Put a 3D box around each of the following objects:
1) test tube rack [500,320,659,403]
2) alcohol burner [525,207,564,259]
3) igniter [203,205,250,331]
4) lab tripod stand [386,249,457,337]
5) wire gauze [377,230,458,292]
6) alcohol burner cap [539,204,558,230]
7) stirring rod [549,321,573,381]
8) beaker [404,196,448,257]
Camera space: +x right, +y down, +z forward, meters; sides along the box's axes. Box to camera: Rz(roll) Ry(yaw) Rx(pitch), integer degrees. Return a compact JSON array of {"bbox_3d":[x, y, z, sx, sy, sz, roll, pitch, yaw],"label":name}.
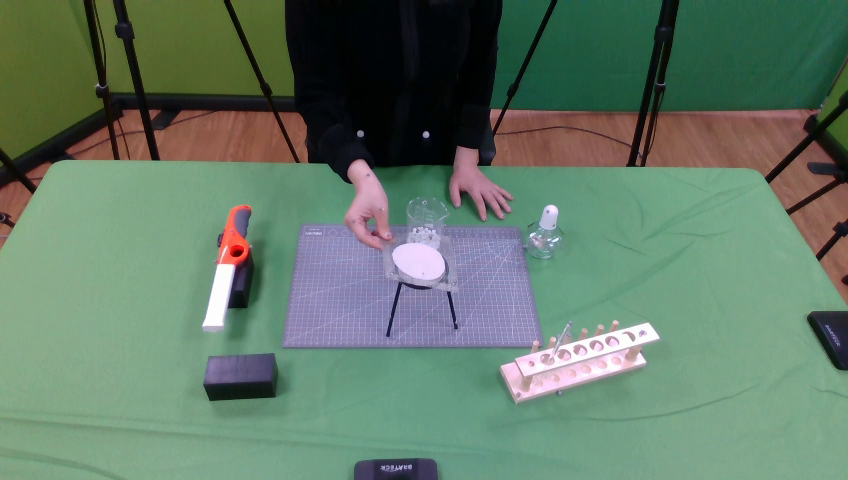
[{"bbox_3d":[0.252,0.187,0.994,0.243,0.085,0.066,-12,48,-15],"label":"test tube rack"},{"bbox_3d":[0.236,-0.020,1.174,0.078,0.120,0.077,1,48,-1],"label":"alcohol burner"},{"bbox_3d":[-0.345,0.039,1.065,0.057,0.025,0.274,2,49,-6],"label":"igniter"},{"bbox_3d":[-0.010,0.087,1.032,0.148,0.132,0.147,1,45,-1],"label":"lab tripod stand"},{"bbox_3d":[-0.011,0.029,0.967,0.125,0.011,0.120,8,40,-14],"label":"wire gauze"},{"bbox_3d":[0.239,-0.045,1.148,0.034,0.048,0.033,2,42,-1],"label":"alcohol burner cap"},{"bbox_3d":[0.202,0.167,0.901,0.006,0.177,0.014,-18,55,-11],"label":"stirring rod"},{"bbox_3d":[0.001,-0.024,1.164,0.084,0.101,0.073,6,46,0],"label":"beaker"}]
